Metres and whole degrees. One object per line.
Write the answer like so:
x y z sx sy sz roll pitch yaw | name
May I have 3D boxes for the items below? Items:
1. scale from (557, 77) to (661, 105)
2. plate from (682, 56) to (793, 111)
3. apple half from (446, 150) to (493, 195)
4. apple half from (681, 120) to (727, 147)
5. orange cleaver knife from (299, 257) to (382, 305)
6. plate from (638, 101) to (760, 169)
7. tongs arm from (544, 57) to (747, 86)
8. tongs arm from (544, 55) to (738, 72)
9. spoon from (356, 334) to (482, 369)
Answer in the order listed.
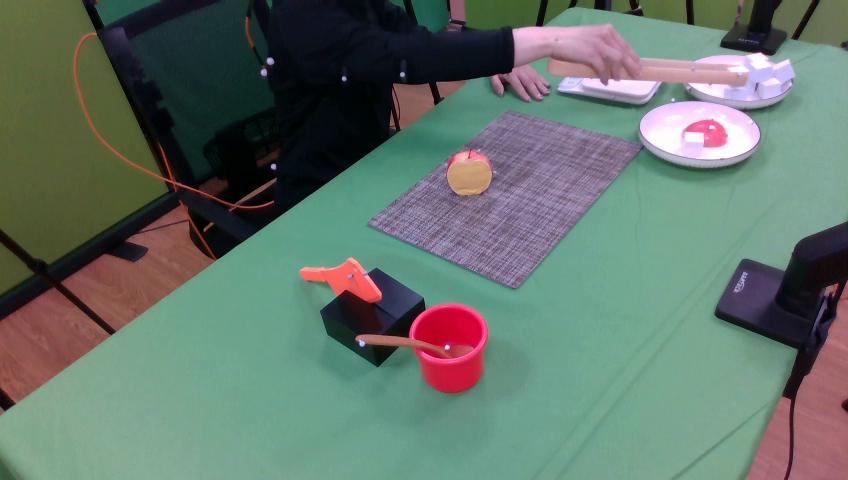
0.407 -0.348 1.314 0.199 0.032 0.149 19 47 28 | scale
0.636 -0.317 1.239 0.207 0.039 0.206 -4 40 4 | plate
0.080 -0.123 1.065 0.081 0.075 0.053 -7 36 7 | apple half
0.518 -0.202 1.115 0.081 0.033 0.081 -1 40 2 | apple half
-0.124 0.062 0.872 0.012 0.077 0.210 -38 17 -30 | orange cleaver knife
0.500 -0.189 1.111 0.209 0.038 0.208 -4 41 4 | plate
0.414 -0.312 1.125 0.386 0.026 0.050 -1 34 -11 | tongs arm
0.413 -0.325 1.144 0.389 0.028 0.028 1 38 -7 | tongs arm
-0.001 0.130 0.731 0.195 0.021 0.041 22 28 -39 | spoon
